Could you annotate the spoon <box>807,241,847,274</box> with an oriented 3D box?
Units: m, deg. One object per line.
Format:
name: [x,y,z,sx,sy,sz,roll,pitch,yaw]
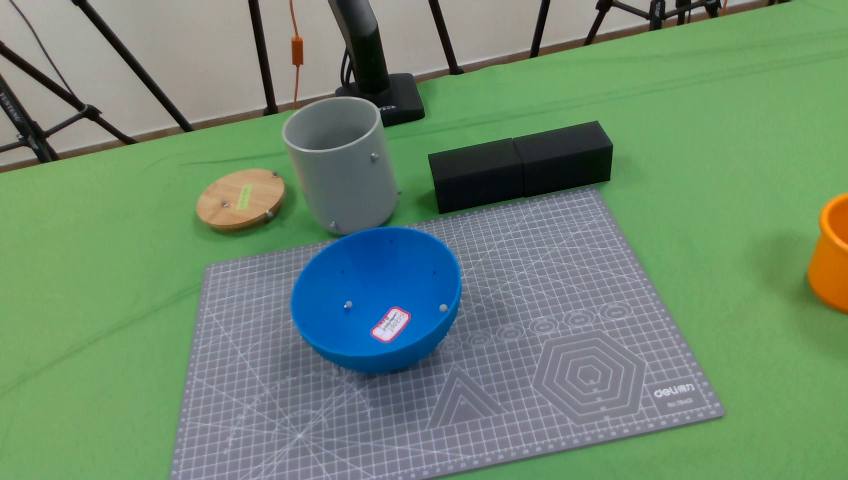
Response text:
spoon: [0.406,-0.007,0.479,0.022,0.193,0.041,45,55,-8]

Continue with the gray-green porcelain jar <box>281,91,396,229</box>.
gray-green porcelain jar: [-0.089,-0.084,0.673,0.106,0.128,0.105,-6,44,6]

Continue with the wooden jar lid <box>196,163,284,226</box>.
wooden jar lid: [-0.225,-0.056,0.747,0.108,0.021,0.107,-4,45,4]

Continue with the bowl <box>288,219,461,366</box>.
bowl: [-0.037,0.060,0.546,0.151,0.077,0.150,-6,44,6]
